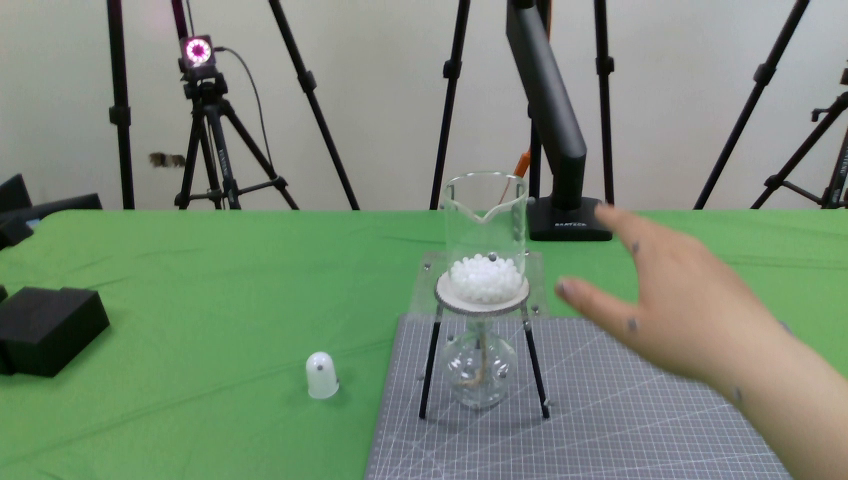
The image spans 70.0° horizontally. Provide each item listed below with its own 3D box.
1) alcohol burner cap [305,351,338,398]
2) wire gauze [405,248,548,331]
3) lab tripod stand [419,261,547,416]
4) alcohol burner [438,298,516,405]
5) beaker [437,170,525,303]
[{"bbox_3d":[-0.108,0.138,0.634,0.034,0.048,0.033,-1,31,1],"label":"alcohol burner cap"},{"bbox_3d":[0.049,0.041,0.558,0.121,0.011,0.124,-2,31,8],"label":"wire gauze"},{"bbox_3d":[0.054,0.095,0.595,0.148,0.132,0.147,-4,29,2],"label":"lab tripod stand"},{"bbox_3d":[0.053,0.105,0.599,0.078,0.120,0.077,-1,32,1],"label":"alcohol burner"},{"bbox_3d":[0.051,-0.001,0.532,0.074,0.101,0.083,0,30,9],"label":"beaker"}]
